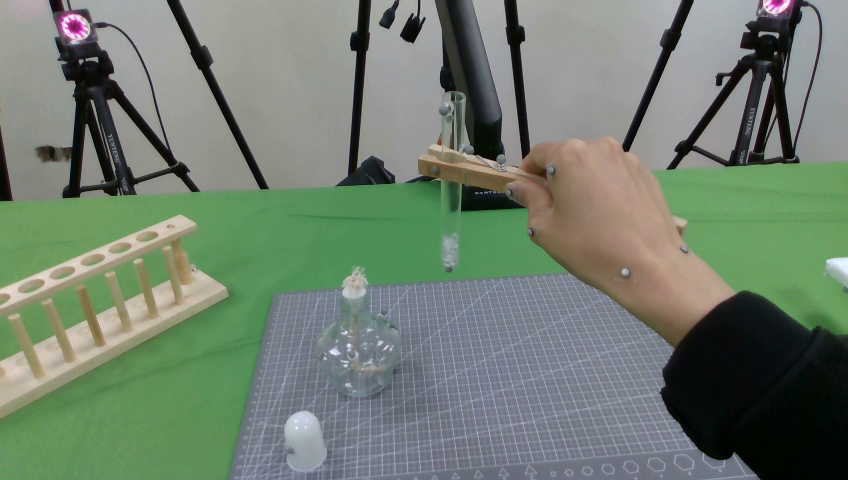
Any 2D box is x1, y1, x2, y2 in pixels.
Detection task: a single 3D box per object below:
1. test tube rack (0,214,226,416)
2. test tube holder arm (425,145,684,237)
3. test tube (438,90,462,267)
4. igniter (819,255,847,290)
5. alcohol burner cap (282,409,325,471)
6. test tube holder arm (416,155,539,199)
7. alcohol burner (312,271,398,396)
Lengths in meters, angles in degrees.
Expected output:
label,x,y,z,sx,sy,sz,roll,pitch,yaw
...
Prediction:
label,x,y,z,sx,sy,sz,roll,pitch,yaw
test tube rack,-0.329,0.066,0.607,0.066,0.086,0.242,24,40,35
test tube holder arm,0.078,-0.035,0.397,0.177,0.015,0.013,19,49,25
test tube,0.018,-0.037,0.435,0.017,0.151,0.017,0,42,1
igniter,0.433,0.086,0.503,0.057,0.025,0.274,-5,28,-4
alcohol burner cap,-0.099,0.157,0.484,0.034,0.048,0.033,-1,32,1
test tube holder arm,0.036,-0.043,0.411,0.087,0.015,0.010,13,46,20
alcohol burner,-0.062,0.079,0.540,0.078,0.120,0.077,-1,30,1
